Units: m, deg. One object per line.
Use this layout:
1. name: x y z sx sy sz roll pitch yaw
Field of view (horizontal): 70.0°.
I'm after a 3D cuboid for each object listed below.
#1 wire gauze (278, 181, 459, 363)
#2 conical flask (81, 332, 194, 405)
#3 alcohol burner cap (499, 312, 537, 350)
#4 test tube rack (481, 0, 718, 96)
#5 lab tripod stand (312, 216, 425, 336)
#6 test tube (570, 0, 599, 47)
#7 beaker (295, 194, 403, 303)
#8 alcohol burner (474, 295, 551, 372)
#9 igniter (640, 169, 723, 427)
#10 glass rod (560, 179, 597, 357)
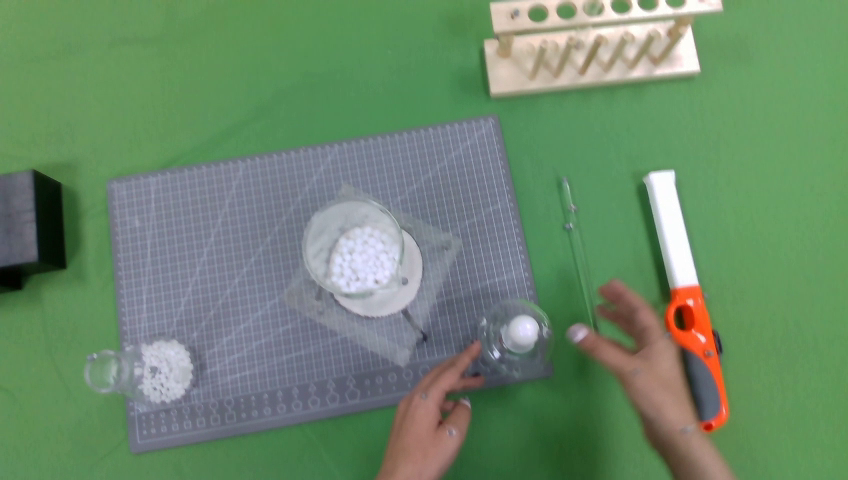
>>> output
1. wire gauze: -0.048 0.026 0.532 0.125 0.011 0.121 27 83 3
2. conical flask: -0.279 0.124 0.585 0.075 0.122 0.075 0 79 0
3. alcohol burner cap: 0.089 0.082 0.562 0.034 0.048 0.033 0 72 -1
4. test tube rack: 0.190 -0.221 0.674 0.242 0.085 0.066 -6 78 -1
5. lab tripod stand: -0.050 0.037 0.597 0.148 0.132 0.148 0 81 1
6. test tube: 0.171 -0.243 0.628 0.017 0.151 0.017 0 79 3
7. beaker: -0.051 0.014 0.486 0.084 0.100 0.074 40 82 7
8. alcohol burner: 0.089 0.091 0.597 0.078 0.119 0.077 0 79 3
9. igniter: 0.276 0.057 0.651 0.057 0.025 0.275 -6 79 -12
10. glass rod: 0.170 0.029 0.666 0.008 0.008 0.199 -8 82 -2
